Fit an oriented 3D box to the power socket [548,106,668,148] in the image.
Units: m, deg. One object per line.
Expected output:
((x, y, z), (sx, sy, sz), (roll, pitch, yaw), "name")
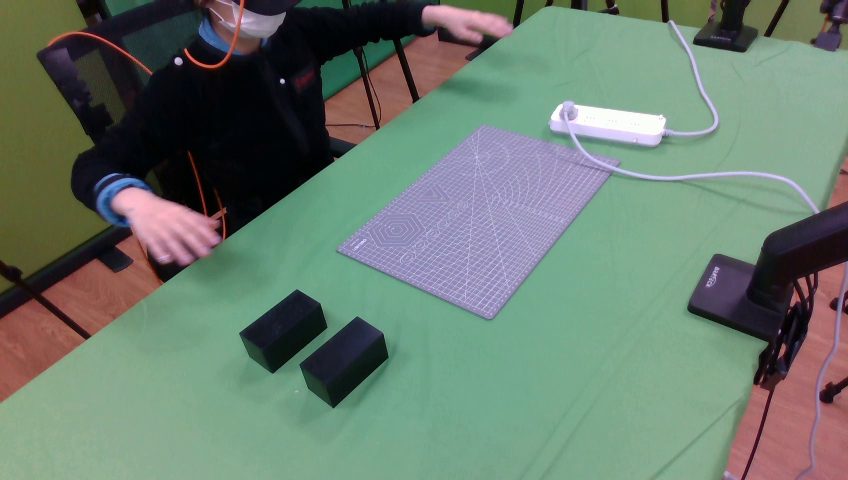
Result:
((0.352, -0.223, 1.170), (0.225, 0.033, 0.072), (15, 46, 24), "power socket")

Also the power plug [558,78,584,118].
((0.278, -0.268, 1.157), (0.035, 0.073, 0.052), (-44, 37, -20), "power plug")
